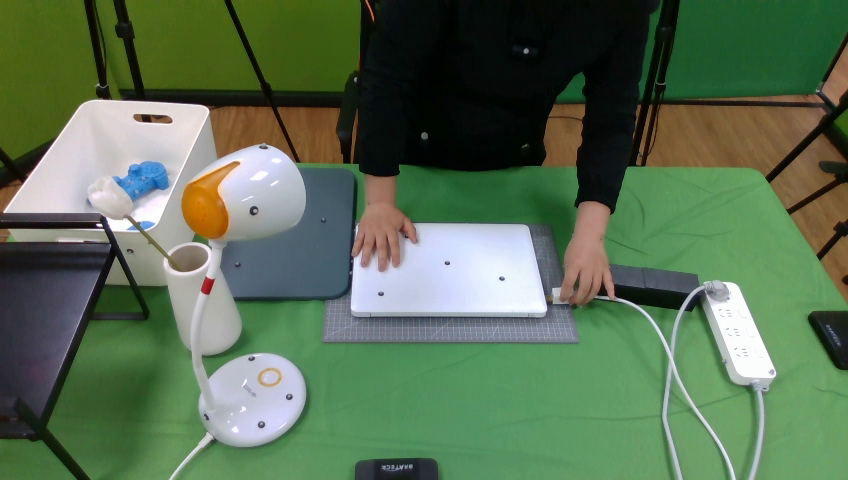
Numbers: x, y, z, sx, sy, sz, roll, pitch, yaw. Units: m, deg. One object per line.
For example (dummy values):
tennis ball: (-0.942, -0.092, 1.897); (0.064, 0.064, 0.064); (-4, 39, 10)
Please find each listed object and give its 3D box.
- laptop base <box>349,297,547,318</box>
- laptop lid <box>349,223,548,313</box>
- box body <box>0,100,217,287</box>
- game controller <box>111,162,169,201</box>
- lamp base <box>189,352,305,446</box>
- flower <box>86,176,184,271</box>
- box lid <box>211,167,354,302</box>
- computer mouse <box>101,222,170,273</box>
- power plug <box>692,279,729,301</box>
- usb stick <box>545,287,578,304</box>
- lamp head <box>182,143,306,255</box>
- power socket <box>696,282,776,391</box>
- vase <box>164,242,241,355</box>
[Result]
laptop base: (0.041, 0.056, 1.149); (0.354, 0.023, 0.234); (0, 42, -4)
laptop lid: (0.041, 0.047, 1.143); (0.357, 0.013, 0.240); (2, 43, -3)
box body: (-0.559, -0.092, 1.144); (0.254, 0.161, 0.361); (3, 46, -2)
game controller: (-0.597, -0.113, 1.234); (0.097, 0.052, 0.155); (29, 52, 19)
lamp base: (-0.268, 0.197, 0.876); (0.160, 0.181, 0.179); (26, 52, 20)
flower: (-0.365, 0.038, 0.894); (0.038, 0.364, 0.044); (-4, 53, 15)
box lid: (-0.277, -0.023, 1.205); (0.263, 0.015, 0.369); (0, 46, -3)
computer mouse: (-0.536, 0.010, 1.127); (0.062, 0.041, 0.117); (32, 54, 21)
power plug: (0.522, 0.091, 1.116); (0.072, 0.053, 0.035); (11, 48, 8)
usb stick: (0.249, 0.102, 1.104); (0.059, 0.027, 0.021); (-4, 45, 0)
lamp head: (-0.215, -0.044, 0.697); (0.112, 0.113, 0.123); (23, 31, 17)
power socket: (0.550, 0.161, 1.078); (0.072, 0.033, 0.225); (2, 46, -1)
vase: (-0.349, 0.096, 0.953); (0.098, 0.201, 0.097); (3, 47, -3)
